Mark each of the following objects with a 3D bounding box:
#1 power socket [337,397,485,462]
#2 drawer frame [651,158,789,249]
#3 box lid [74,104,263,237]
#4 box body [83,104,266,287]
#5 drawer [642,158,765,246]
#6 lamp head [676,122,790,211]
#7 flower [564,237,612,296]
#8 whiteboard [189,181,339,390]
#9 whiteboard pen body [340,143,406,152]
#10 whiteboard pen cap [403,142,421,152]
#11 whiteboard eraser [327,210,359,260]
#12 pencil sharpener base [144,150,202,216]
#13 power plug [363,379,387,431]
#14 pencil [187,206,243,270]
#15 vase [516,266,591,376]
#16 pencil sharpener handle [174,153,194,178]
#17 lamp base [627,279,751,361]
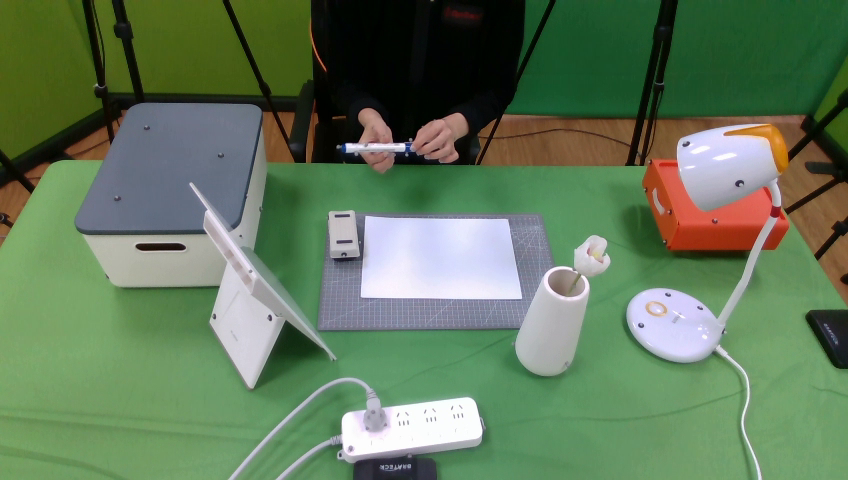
[{"bbox_3d":[-0.018,0.285,0.915,0.227,0.033,0.071,-5,46,-8],"label":"power socket"},{"bbox_3d":[0.571,-0.075,1.214,0.214,0.083,0.200,0,46,-1],"label":"drawer frame"},{"bbox_3d":[-0.443,-0.139,1.095,0.263,0.015,0.369,-1,45,-5],"label":"box lid"},{"bbox_3d":[-0.447,-0.088,1.150,0.254,0.161,0.361,-1,46,-5],"label":"box body"},{"bbox_3d":[0.565,-0.076,1.211,0.212,0.073,0.193,2,45,-2],"label":"drawer"},{"bbox_3d":[0.423,-0.104,0.819,0.122,0.113,0.112,-13,33,40],"label":"lamp head"},{"bbox_3d":[0.206,0.088,0.892,0.038,0.363,0.044,-16,67,-9],"label":"flower"},{"bbox_3d":[-0.292,0.096,0.929,0.144,0.307,0.216,-37,57,-10],"label":"whiteboard"},{"bbox_3d":[-0.078,-0.163,1.065,0.141,0.017,0.017,-4,46,-21],"label":"whiteboard pen body"},{"bbox_3d":[-0.023,-0.167,1.085,0.033,0.018,0.018,-6,47,-22],"label":"whiteboard pen cap"},{"bbox_3d":[-0.158,-0.009,1.177,0.055,0.042,0.112,-6,47,-7],"label":"whiteboard eraser"},{"bbox_3d":[-0.493,-0.113,1.199,0.061,0.107,0.076,15,47,12],"label":"pencil sharpener base"},{"bbox_3d":[-0.072,0.252,0.910,0.035,0.053,0.072,3,45,-1],"label":"power plug"},{"bbox_3d":[-0.401,-0.008,1.176,0.012,0.012,0.193,15,44,10],"label":"pencil"},{"bbox_3d":[0.208,0.132,0.964,0.098,0.201,0.097,3,46,-3],"label":"vase"},{"bbox_3d":[-0.479,-0.156,1.225,0.036,0.068,0.030,24,48,2],"label":"pencil sharpener handle"},{"bbox_3d":[0.459,0.100,1.027,0.178,0.181,0.160,27,51,17],"label":"lamp base"}]
